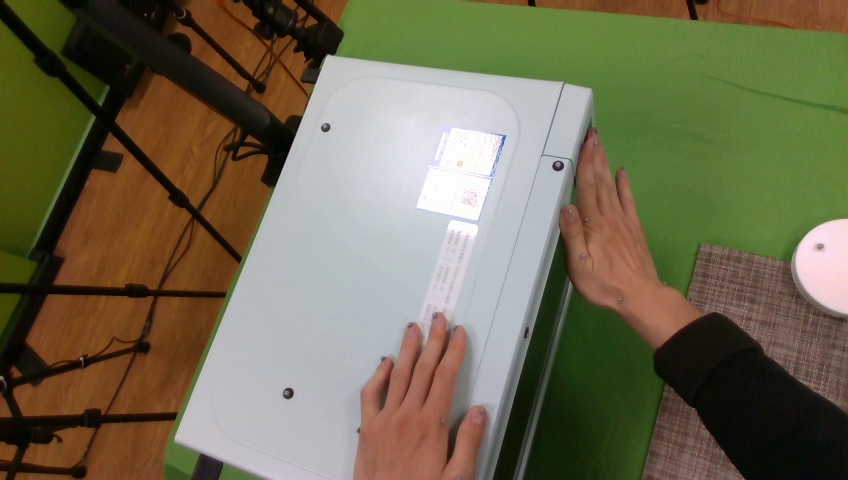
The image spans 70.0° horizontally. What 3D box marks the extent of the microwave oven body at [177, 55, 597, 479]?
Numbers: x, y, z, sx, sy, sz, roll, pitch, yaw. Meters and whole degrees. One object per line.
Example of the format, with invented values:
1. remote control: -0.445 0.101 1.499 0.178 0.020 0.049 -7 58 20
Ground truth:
1. microwave oven body: -0.018 0.059 0.693 0.324 0.262 0.440 13 77 21

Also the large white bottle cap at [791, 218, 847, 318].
1. large white bottle cap: 0.477 0.030 0.677 0.114 0.018 0.114 -6 70 16

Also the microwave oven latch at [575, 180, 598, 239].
1. microwave oven latch: 0.199 -0.043 0.766 0.030 0.030 0.079 13 77 21

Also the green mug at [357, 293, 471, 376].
1. green mug: -0.009 0.109 0.697 0.125 0.105 0.092 0 75 10

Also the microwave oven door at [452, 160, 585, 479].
1. microwave oven door: 0.101 0.126 0.626 0.039 0.246 0.354 12 76 22
